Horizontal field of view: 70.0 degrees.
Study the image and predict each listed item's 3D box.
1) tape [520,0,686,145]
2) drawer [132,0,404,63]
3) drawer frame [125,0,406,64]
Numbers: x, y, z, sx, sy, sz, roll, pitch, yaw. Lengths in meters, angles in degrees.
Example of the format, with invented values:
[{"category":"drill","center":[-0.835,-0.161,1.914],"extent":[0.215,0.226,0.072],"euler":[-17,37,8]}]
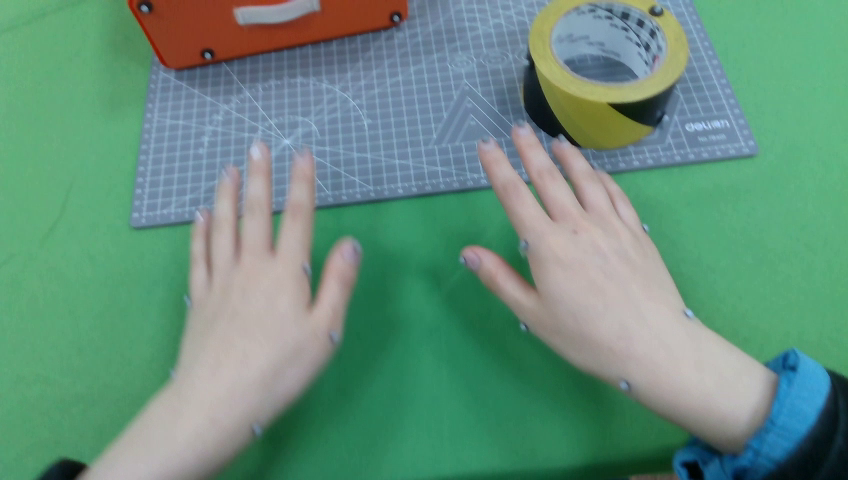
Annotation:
[{"category":"tape","center":[0.128,-0.129,0.443],"extent":[0.117,0.053,0.116],"euler":[-1,63,2]},{"category":"drawer","center":[-0.135,-0.262,0.503],"extent":[0.195,0.074,0.209],"euler":[-14,63,-4]},{"category":"drawer frame","center":[-0.136,-0.263,0.503],"extent":[0.202,0.083,0.211],"euler":[-14,62,-5]}]
